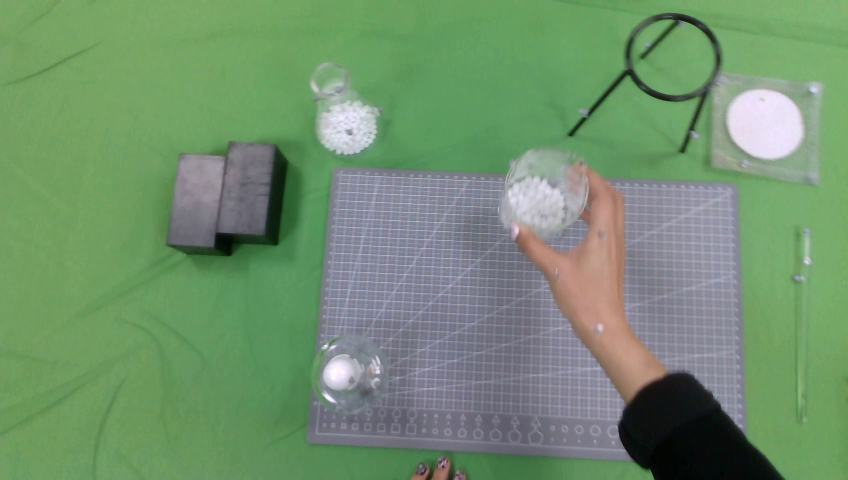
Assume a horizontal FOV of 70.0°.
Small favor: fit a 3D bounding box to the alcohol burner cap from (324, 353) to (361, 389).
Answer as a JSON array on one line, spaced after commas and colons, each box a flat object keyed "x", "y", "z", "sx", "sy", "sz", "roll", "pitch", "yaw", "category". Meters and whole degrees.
[{"x": -0.075, "y": 0.120, "z": 0.551, "sx": 0.034, "sy": 0.048, "sz": 0.034, "roll": 0, "pitch": 82, "yaw": -1, "category": "alcohol burner cap"}]

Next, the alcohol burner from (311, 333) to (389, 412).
[{"x": -0.075, "y": 0.128, "z": 0.586, "sx": 0.078, "sy": 0.119, "sz": 0.077, "roll": -1, "pitch": 77, "yaw": 4, "category": "alcohol burner"}]

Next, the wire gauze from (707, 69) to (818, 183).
[{"x": 0.381, "y": -0.132, "z": 0.682, "sx": 0.125, "sy": 0.011, "sz": 0.121, "roll": 9, "pitch": 80, "yaw": 1, "category": "wire gauze"}]

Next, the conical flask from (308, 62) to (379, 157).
[{"x": -0.091, "y": -0.141, "z": 0.639, "sx": 0.075, "sy": 0.122, "sz": 0.075, "roll": 0, "pitch": 78, "yaw": 2, "category": "conical flask"}]

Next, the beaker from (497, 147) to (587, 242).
[{"x": 0.110, "y": -0.040, "z": 0.578, "sx": 0.084, "sy": 0.100, "sz": 0.074, "roll": -41, "pitch": 83, "yaw": -4, "category": "beaker"}]

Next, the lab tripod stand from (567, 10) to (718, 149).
[{"x": 0.229, "y": -0.159, "z": 0.628, "sx": 0.148, "sy": 0.132, "sz": 0.148, "roll": 0, "pitch": 80, "yaw": 2, "category": "lab tripod stand"}]

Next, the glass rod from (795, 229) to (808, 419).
[{"x": 0.398, "y": 0.086, "z": 0.637, "sx": 0.008, "sy": 0.008, "sz": 0.199, "roll": 7, "pitch": 81, "yaw": 3, "category": "glass rod"}]
